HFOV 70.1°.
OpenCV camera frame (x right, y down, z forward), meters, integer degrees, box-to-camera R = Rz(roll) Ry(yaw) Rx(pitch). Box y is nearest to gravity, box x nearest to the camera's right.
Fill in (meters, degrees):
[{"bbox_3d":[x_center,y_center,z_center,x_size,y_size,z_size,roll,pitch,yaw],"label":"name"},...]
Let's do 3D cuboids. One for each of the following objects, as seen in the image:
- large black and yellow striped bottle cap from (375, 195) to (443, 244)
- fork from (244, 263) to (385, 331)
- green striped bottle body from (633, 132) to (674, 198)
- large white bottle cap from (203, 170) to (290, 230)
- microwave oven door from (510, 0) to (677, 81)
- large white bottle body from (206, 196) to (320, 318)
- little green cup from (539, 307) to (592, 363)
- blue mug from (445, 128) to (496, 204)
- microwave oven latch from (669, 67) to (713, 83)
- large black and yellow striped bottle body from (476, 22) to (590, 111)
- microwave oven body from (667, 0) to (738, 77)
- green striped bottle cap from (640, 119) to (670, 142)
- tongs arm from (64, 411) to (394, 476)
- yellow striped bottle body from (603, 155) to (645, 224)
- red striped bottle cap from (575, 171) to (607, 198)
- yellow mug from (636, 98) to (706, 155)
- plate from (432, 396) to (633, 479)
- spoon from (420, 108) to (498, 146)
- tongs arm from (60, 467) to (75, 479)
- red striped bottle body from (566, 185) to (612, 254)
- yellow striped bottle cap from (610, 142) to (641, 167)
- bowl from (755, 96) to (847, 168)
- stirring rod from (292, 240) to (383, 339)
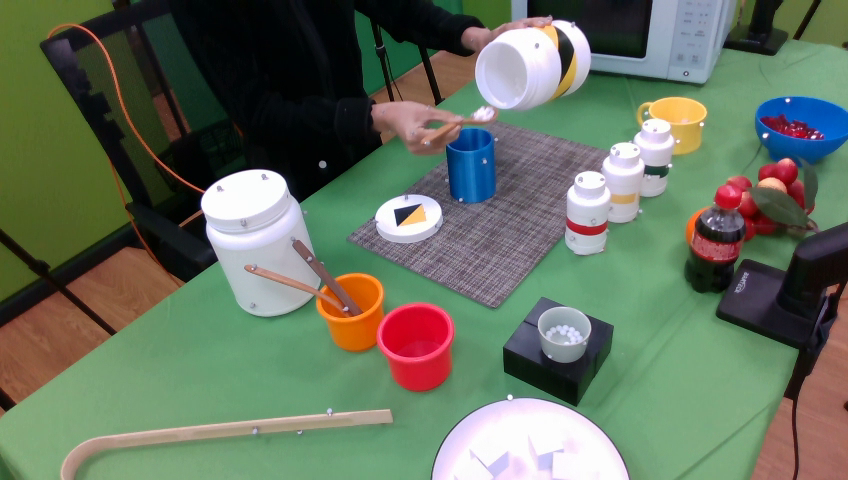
[{"bbox_3d":[-0.026,-0.036,1.022,0.115,0.019,0.114,-4,41,4],"label":"large black and yellow striped bottle cap"},{"bbox_3d":[-0.142,0.077,0.807,0.209,0.018,0.028,30,42,-24],"label":"fork"},{"bbox_3d":[0.376,-0.135,1.001,0.063,0.120,0.063,-5,40,5],"label":"green striped bottle body"},{"bbox_3d":[-0.241,-0.057,0.822,0.115,0.018,0.114,-4,40,4],"label":"large white bottle cap"},{"bbox_3d":[0.354,-0.478,1.290,0.353,0.245,0.039,15,45,25],"label":"microwave oven door"},{"bbox_3d":[-0.233,0.008,0.876,0.130,0.185,0.130,-4,40,4],"label":"large white bottle body"},{"bbox_3d":[0.168,0.115,0.721,0.061,0.039,0.061,-4,42,4],"label":"little green cup"},{"bbox_3d":[0.083,-0.139,1.057,0.082,0.106,0.116,-2,41,6],"label":"blue mug"},{"bbox_3d":[0.556,-0.348,1.262,0.078,0.029,0.030,15,46,26],"label":"microwave oven latch"},{"bbox_3d":[0.186,-0.295,1.036,0.129,0.131,0.185,26,37,34],"label":"large black and yellow striped bottle body"},{"bbox_3d":[0.462,-0.552,1.369,0.439,0.261,0.326,15,45,26],"label":"microwave oven body"},{"bbox_3d":[0.371,-0.175,0.968,0.044,0.020,0.044,-4,41,4],"label":"green striped bottle cap"},{"bbox_3d":[-0.228,0.241,0.715,0.385,0.026,0.050,-5,43,4],"label":"tongs arm"},{"bbox_3d":[0.314,-0.091,0.958,0.063,0.121,0.062,-4,40,4],"label":"yellow striped bottle body"},{"bbox_3d":[0.242,-0.081,0.876,0.044,0.018,0.044,-5,44,5],"label":"red striped bottle cap"},{"bbox_3d":[0.453,-0.217,1.128,0.100,0.064,0.129,-34,46,-27],"label":"yellow mug"},{"bbox_3d":[0.112,0.261,0.634,0.209,0.038,0.208,-5,40,4],"label":"plate"},{"bbox_3d":[0.053,-0.174,0.925,0.041,0.022,0.195,23,33,31],"label":"spoon"},{"bbox_3d":[-0.239,0.301,0.648,0.386,0.028,0.028,6,49,16],"label":"tongs arm"},{"bbox_3d":[0.248,-0.041,0.910,0.063,0.120,0.062,-4,41,4],"label":"red striped bottle body"},{"bbox_3d":[0.308,-0.131,0.925,0.044,0.019,0.044,-4,45,5],"label":"yellow striped bottle cap"},{"bbox_3d":[0.645,-0.177,1.041,0.151,0.077,0.150,-5,40,4],"label":"bowl"},{"bbox_3d":[-0.118,0.068,0.826,0.176,0.006,0.014,49,59,-4],"label":"stirring rod"}]
